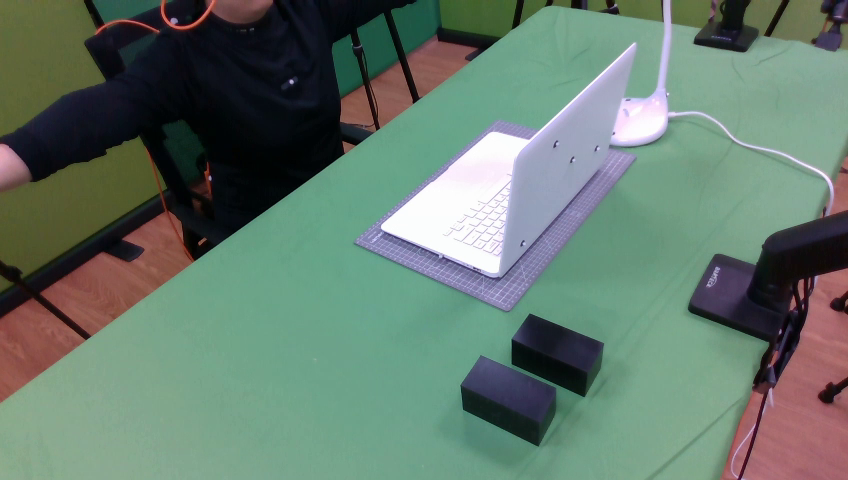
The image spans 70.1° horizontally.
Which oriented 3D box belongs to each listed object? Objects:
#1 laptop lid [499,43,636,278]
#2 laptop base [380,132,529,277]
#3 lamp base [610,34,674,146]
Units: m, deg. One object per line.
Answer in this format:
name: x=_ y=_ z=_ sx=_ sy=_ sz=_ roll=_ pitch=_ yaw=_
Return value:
laptop lid: x=0.217 y=-0.122 z=0.898 sx=0.013 sy=0.242 sz=0.358 roll=28 pitch=50 yaw=25
laptop base: x=0.122 y=-0.077 z=1.042 sx=0.233 sy=0.023 sz=0.355 roll=20 pitch=47 yaw=33
lamp base: x=0.392 y=-0.291 z=1.129 sx=0.180 sy=0.181 sz=0.159 roll=-11 pitch=41 yaw=-8
